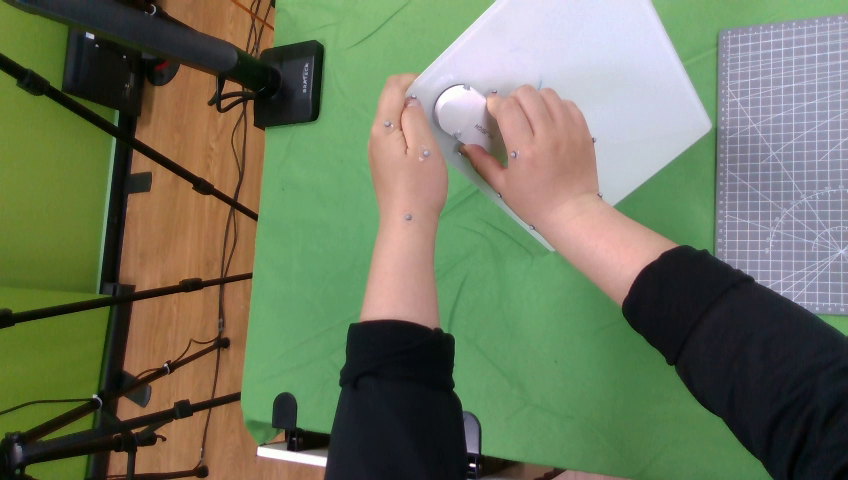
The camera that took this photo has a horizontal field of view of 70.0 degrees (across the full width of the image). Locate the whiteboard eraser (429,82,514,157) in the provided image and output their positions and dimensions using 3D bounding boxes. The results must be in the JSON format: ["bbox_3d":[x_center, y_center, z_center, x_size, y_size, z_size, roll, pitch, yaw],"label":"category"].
[{"bbox_3d":[0.042,-0.103,0.524,0.041,0.102,0.018,-50,51,16],"label":"whiteboard eraser"}]

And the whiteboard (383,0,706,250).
[{"bbox_3d":[0.111,-0.161,0.611,0.217,0.309,0.142,-40,48,16],"label":"whiteboard"}]
